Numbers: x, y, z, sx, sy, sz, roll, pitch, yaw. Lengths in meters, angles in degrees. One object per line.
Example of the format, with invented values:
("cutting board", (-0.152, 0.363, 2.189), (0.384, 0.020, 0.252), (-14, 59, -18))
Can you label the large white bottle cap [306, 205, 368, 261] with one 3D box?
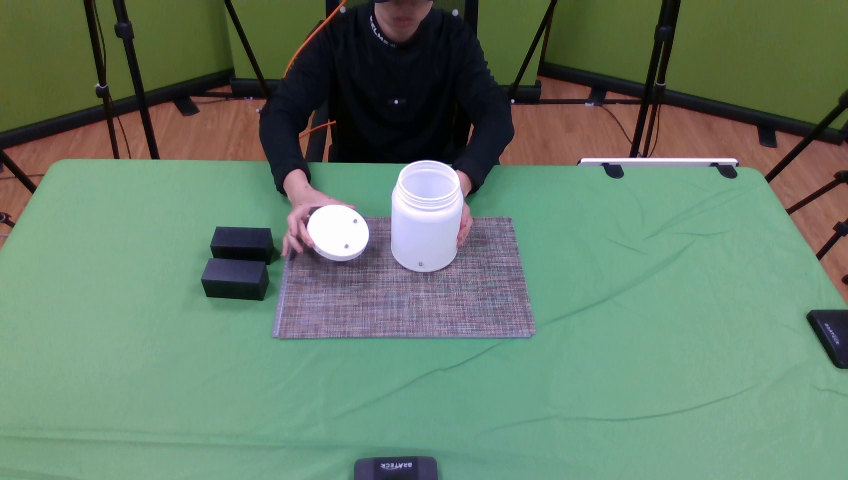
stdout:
("large white bottle cap", (-0.161, -0.015, 1.122), (0.115, 0.018, 0.114), (11, 55, -16))

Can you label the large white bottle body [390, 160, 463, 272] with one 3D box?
("large white bottle body", (0.003, -0.044, 1.123), (0.131, 0.185, 0.130), (2, 47, -2))
